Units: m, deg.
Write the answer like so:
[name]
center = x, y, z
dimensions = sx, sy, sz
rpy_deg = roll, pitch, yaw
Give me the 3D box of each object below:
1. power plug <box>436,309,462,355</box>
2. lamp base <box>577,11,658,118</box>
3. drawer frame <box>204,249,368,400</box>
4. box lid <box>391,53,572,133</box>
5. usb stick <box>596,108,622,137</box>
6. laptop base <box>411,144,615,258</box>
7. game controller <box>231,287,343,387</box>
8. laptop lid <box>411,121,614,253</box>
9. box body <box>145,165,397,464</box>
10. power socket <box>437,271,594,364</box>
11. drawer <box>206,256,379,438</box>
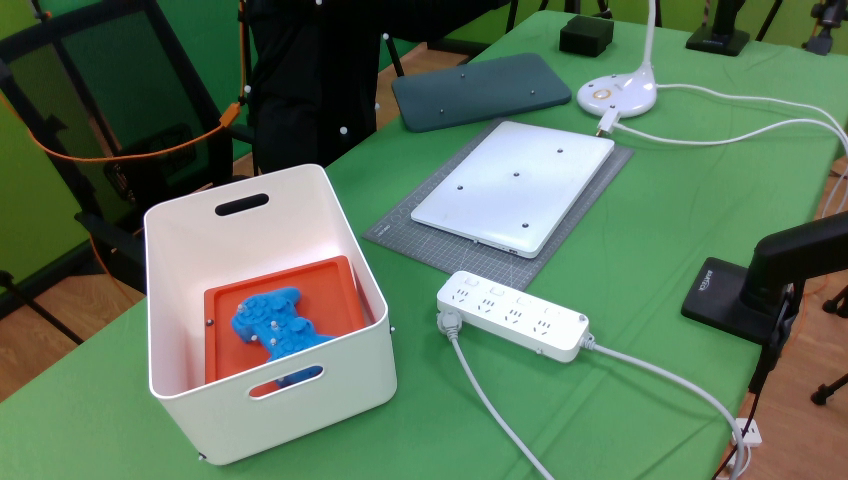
[power plug]
center = 0.032, 0.126, 0.810
dimensions = 0.035, 0.053, 0.072
rpy_deg = 3, 59, 7
[lamp base]
center = 0.406, -0.363, 1.223
dimensions = 0.180, 0.181, 0.159
rpy_deg = -20, 42, -18
[drawer frame]
center = -0.174, 0.129, 0.791
dimensions = 0.202, 0.083, 0.212
rpy_deg = -16, 45, -8
[box lid]
center = 0.122, -0.339, 1.366
dimensions = 0.372, 0.015, 0.261
rpy_deg = -12, 40, -5
[usb stick]
center = 0.354, -0.223, 1.168
dimensions = 0.027, 0.059, 0.022
rpy_deg = 37, 12, 35
[laptop base]
center = 0.167, -0.102, 1.074
dimensions = 0.234, 0.023, 0.355
rpy_deg = 16, 45, 30
[game controller]
center = -0.167, 0.110, 0.734
dimensions = 0.097, 0.052, 0.154
rpy_deg = -35, 47, -22
[laptop lid]
center = 0.164, -0.112, 1.068
dimensions = 0.240, 0.013, 0.357
rpy_deg = 19, 46, 30
[box body]
center = -0.205, 0.080, 0.802
dimensions = 0.255, 0.161, 0.361
rpy_deg = -18, 41, -13
[power socket]
center = 0.118, 0.102, 0.830
dimensions = 0.225, 0.033, 0.072
rpy_deg = 20, 48, 28
[drawer]
center = -0.177, 0.130, 0.787
dimensions = 0.195, 0.073, 0.210
rpy_deg = -14, 39, -9
